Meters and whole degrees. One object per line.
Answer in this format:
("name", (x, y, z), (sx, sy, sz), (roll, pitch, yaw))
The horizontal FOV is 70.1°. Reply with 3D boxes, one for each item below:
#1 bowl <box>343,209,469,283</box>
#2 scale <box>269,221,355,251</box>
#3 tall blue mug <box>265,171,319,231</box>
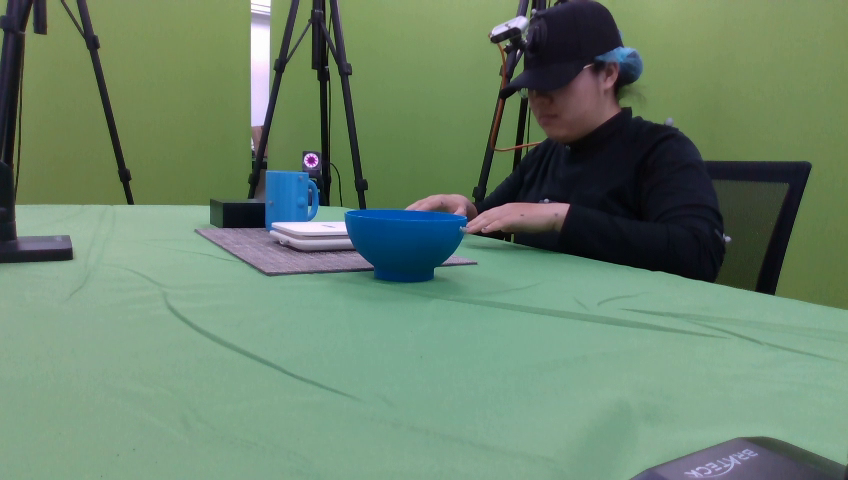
("bowl", (-0.023, 0.007, 0.731), (0.151, 0.077, 0.151), (3, 7, 0))
("scale", (-0.130, -0.008, 0.959), (0.202, 0.031, 0.148), (-1, 9, -32))
("tall blue mug", (-0.248, -0.073, 1.121), (0.078, 0.108, 0.107), (3, 8, 8))
